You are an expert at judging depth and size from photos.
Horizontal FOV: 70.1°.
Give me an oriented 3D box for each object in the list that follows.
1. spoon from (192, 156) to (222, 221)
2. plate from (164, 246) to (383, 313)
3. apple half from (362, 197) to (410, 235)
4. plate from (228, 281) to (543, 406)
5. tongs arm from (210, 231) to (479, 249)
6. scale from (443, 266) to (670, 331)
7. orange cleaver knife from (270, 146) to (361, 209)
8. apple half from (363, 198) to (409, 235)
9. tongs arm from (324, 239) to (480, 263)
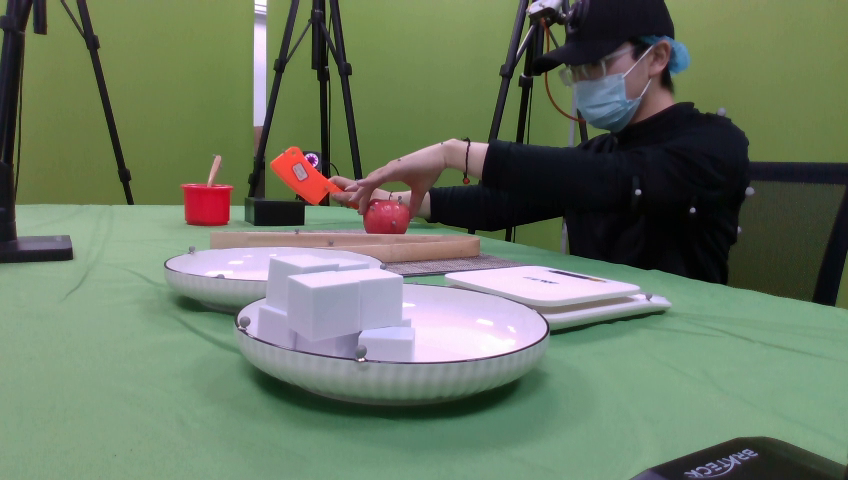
[{"bbox_3d":[-0.430,-0.108,1.222,0.041,0.021,0.193,-1,52,0],"label":"spoon"},{"bbox_3d":[-0.145,0.038,0.600,0.209,0.038,0.209,2,7,0],"label":"plate"},{"bbox_3d":[-0.063,-0.036,1.037,0.081,0.074,0.053,0,3,6],"label":"apple half"},{"bbox_3d":[-0.025,0.067,0.413,0.208,0.039,0.207,3,7,0],"label":"plate"},{"bbox_3d":[-0.106,0.005,0.876,0.386,0.026,0.050,1,7,-20],"label":"tongs arm"},{"bbox_3d":[0.131,0.052,0.603,0.202,0.031,0.148,-2,9,-37],"label":"scale"},{"bbox_3d":[-0.226,-0.116,1.280,0.212,0.077,0.012,38,-7,-29],"label":"orange cleaver knife"},{"bbox_3d":[-0.065,-0.032,0.998,0.081,0.081,0.033,3,3,6],"label":"apple half"},{"bbox_3d":[-0.070,0.018,0.800,0.390,0.028,0.028,-2,5,-34],"label":"tongs arm"}]
